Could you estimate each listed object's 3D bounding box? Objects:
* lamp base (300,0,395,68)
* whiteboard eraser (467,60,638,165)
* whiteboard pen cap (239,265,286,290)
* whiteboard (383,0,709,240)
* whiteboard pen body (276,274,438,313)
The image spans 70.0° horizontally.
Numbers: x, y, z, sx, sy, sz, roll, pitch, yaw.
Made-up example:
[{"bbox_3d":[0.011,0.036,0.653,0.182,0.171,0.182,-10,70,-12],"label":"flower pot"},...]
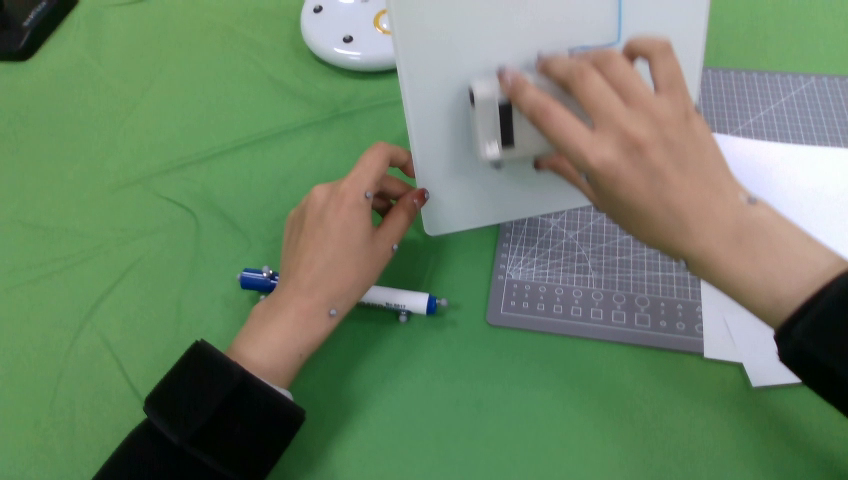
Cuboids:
[{"bbox_3d":[-0.064,-0.288,0.580,0.160,0.182,0.177,-34,56,-18],"label":"lamp base"},{"bbox_3d":[0.087,-0.087,0.414,0.113,0.056,0.041,-9,27,-3],"label":"whiteboard eraser"},{"bbox_3d":[-0.119,0.028,0.451,0.033,0.018,0.018,6,55,6],"label":"whiteboard pen cap"},{"bbox_3d":[0.077,-0.182,0.452,0.217,0.308,0.142,-11,35,-2],"label":"whiteboard"},{"bbox_3d":[-0.060,0.037,0.442,0.140,0.017,0.017,7,55,7],"label":"whiteboard pen body"}]
